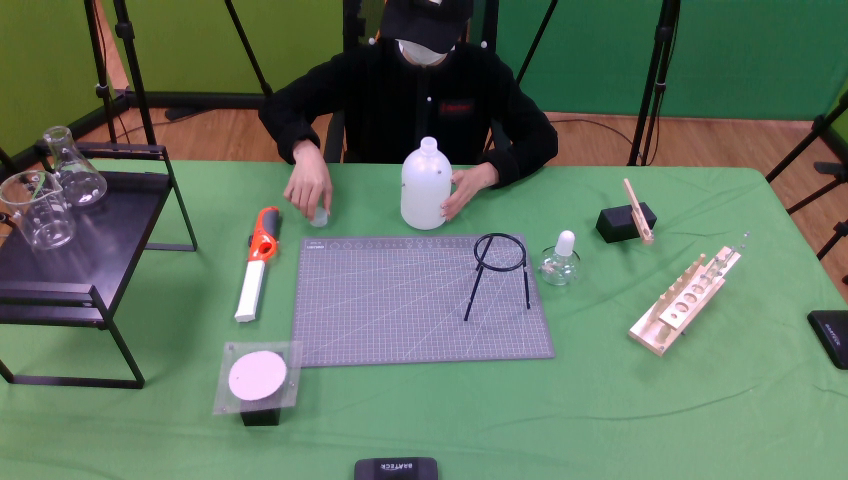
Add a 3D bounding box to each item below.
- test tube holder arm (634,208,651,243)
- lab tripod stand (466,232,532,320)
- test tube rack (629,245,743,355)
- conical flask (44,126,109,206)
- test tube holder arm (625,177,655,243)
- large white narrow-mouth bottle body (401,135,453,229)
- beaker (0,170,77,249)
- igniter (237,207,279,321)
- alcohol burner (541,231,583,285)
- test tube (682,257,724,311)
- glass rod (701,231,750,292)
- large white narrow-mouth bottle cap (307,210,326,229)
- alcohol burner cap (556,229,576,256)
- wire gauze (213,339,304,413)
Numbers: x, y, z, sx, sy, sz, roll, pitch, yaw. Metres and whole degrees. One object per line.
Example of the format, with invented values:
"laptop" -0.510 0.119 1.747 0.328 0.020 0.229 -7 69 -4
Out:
"test tube holder arm" 0.428 -0.030 1.189 0.010 0.015 0.087 1 47 -2
"lab tripod stand" 0.125 0.059 1.065 0.148 0.132 0.147 1 45 0
"test tube rack" 0.474 0.095 1.091 0.242 0.085 0.066 -34 56 -31
"conical flask" -0.554 -0.119 0.953 0.075 0.122 0.075 2 46 -2
"test tube holder arm" 0.433 -0.062 1.220 0.013 0.015 0.177 1 47 -3
"large white narrow-mouth bottle body" 0.006 -0.119 1.192 0.102 0.195 0.101 2 46 -2
"beaker" -0.562 -0.042 0.894 0.084 0.101 0.073 -2 47 -7
"igniter" -0.309 0.036 1.136 0.057 0.025 0.274 -7 45 4
"alcohol burner" 0.258 0.028 1.123 0.078 0.120 0.077 1 47 -1
"test tube" 0.475 0.080 1.037 0.017 0.151 0.017 2 51 -2
"glass rod" 0.519 0.045 1.050 0.008 0.201 0.008 0 55 0
"large white narrow-mouth bottle cap" -0.214 -0.041 1.207 0.038 0.024 0.037 2 46 -2
"alcohol burner cap" 0.260 0.002 1.098 0.034 0.048 0.033 3 40 -2
"wire gauze" -0.250 0.203 0.924 0.121 0.011 0.124 -1 46 -3
